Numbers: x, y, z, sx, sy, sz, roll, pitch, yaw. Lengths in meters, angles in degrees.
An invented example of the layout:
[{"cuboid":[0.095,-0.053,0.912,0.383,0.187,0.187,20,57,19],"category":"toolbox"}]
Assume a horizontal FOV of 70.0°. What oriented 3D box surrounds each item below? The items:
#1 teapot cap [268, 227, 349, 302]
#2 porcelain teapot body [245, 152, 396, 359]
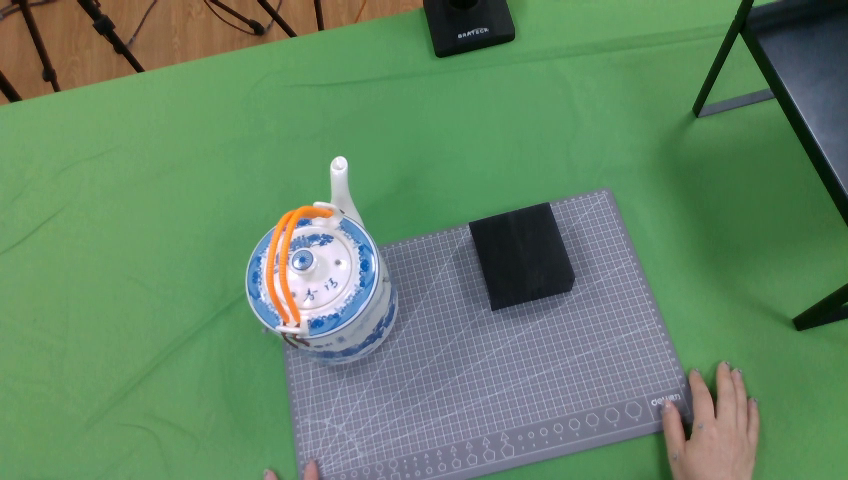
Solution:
[{"cuboid":[-0.120,0.023,0.617,0.085,0.044,0.084,-4,65,9],"category":"teapot cap"},{"cuboid":[-0.110,0.011,0.664,0.145,0.227,0.204,7,68,10],"category":"porcelain teapot body"}]
